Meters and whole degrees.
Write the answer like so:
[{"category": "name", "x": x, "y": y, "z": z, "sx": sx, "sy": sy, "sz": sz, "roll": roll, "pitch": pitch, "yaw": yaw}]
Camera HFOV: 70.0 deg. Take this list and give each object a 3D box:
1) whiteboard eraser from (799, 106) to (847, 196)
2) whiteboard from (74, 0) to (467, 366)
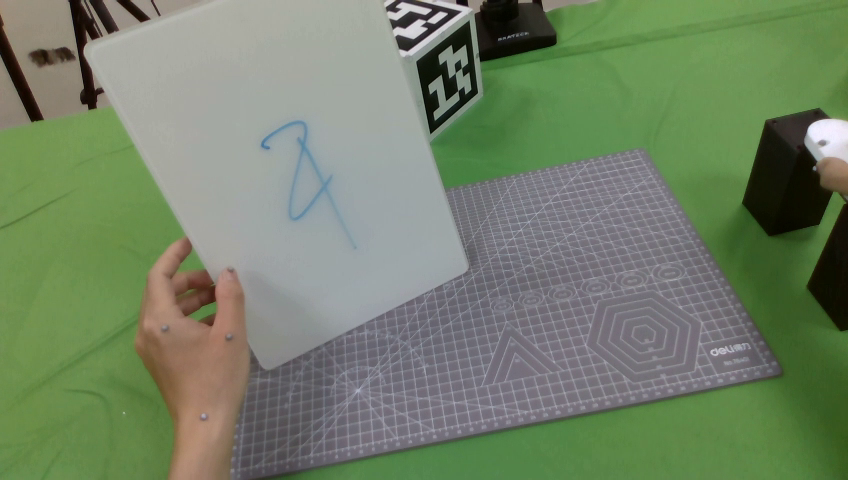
[{"category": "whiteboard eraser", "x": 0.330, "y": -0.071, "z": 0.473, "sx": 0.041, "sy": 0.019, "sz": 0.100, "roll": -7, "pitch": 47, "yaw": 5}, {"category": "whiteboard", "x": -0.121, "y": -0.082, "z": 0.559, "sx": 0.217, "sy": 0.308, "sz": 0.142, "roll": -26, "pitch": 29, "yaw": -11}]
